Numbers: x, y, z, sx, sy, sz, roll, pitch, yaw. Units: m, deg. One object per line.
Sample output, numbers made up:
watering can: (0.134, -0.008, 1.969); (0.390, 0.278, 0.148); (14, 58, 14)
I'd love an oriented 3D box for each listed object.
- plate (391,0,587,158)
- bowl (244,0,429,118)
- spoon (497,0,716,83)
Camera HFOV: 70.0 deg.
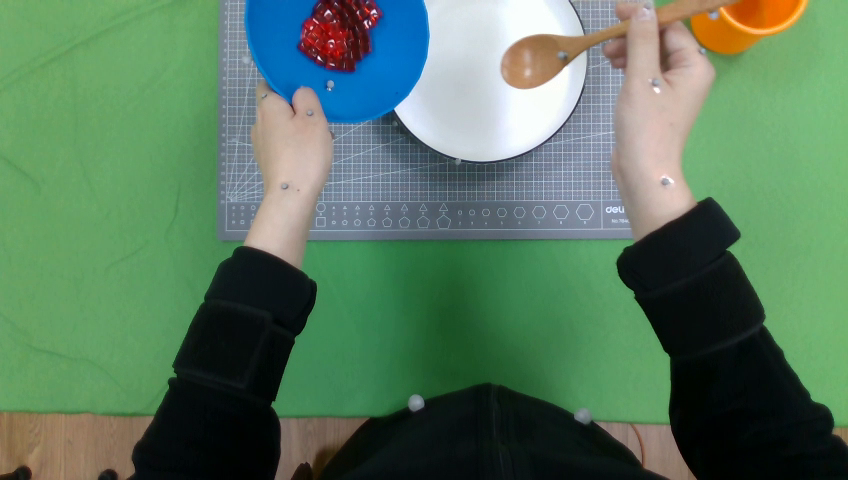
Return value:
plate: (0.058, -0.185, 0.616); (0.209, 0.038, 0.209); (0, 88, 1)
bowl: (-0.079, -0.179, 0.515); (0.152, 0.076, 0.152); (-4, 101, -21)
spoon: (0.131, -0.151, 0.431); (0.022, 0.192, 0.041); (-12, 95, -41)
